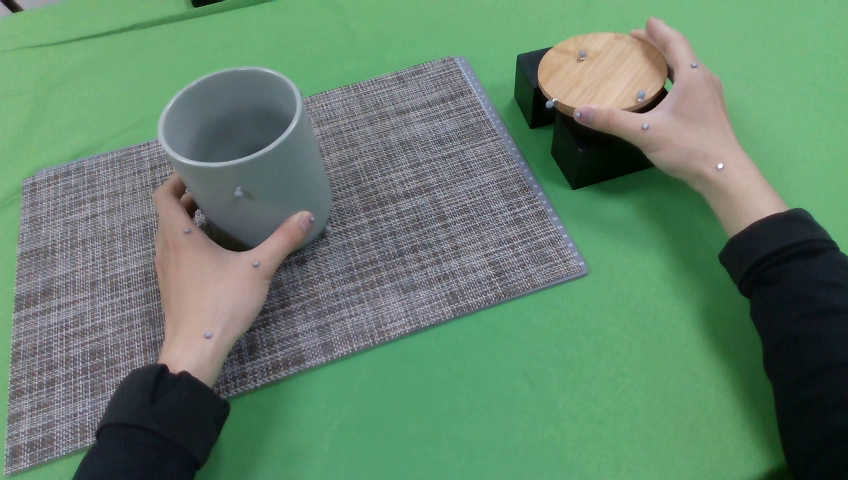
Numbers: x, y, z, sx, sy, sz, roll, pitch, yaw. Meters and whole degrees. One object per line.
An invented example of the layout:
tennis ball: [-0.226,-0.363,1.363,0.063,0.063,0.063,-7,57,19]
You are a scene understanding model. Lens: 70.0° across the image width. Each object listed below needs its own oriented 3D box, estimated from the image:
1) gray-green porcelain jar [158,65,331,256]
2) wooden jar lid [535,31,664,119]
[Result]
gray-green porcelain jar: [-0.135,-0.056,0.489,0.106,0.127,0.105,-2,54,4]
wooden jar lid: [0.152,-0.144,0.529,0.108,0.021,0.107,-4,54,6]
